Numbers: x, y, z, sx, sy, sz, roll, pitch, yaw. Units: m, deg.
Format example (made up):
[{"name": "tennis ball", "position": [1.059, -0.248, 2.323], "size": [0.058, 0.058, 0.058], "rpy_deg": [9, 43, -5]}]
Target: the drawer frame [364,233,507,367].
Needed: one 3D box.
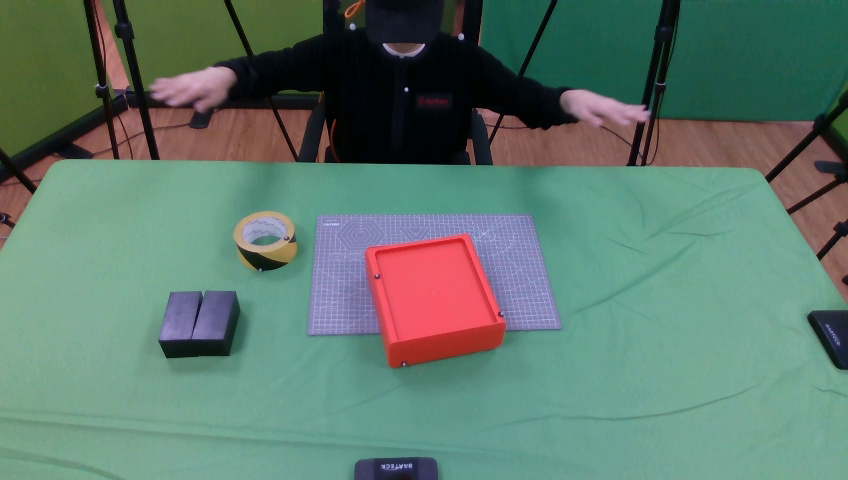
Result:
[{"name": "drawer frame", "position": [0.013, 0.098, 1.058], "size": [0.202, 0.083, 0.212], "rpy_deg": [-9, 48, -12]}]

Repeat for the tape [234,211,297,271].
[{"name": "tape", "position": [-0.301, 0.002, 1.154], "size": [0.117, 0.053, 0.116], "rpy_deg": [2, 46, -1]}]

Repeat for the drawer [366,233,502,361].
[{"name": "drawer", "position": [0.012, 0.095, 1.063], "size": [0.195, 0.073, 0.210], "rpy_deg": [-7, 48, -12]}]
